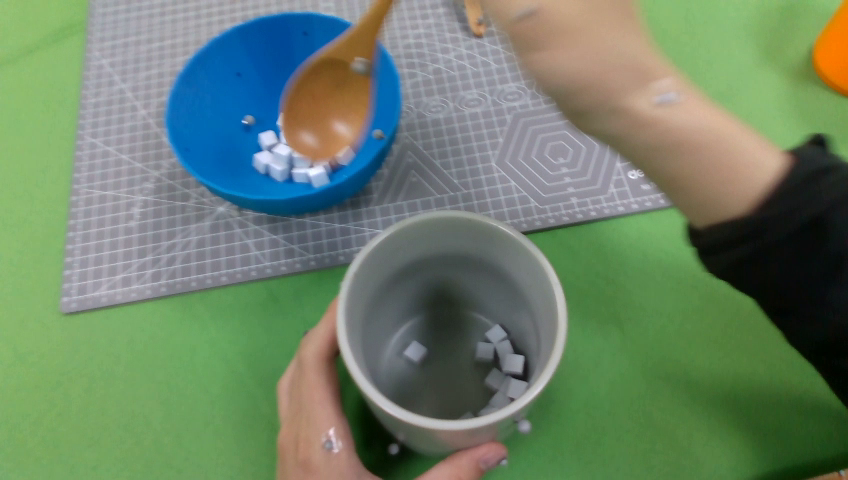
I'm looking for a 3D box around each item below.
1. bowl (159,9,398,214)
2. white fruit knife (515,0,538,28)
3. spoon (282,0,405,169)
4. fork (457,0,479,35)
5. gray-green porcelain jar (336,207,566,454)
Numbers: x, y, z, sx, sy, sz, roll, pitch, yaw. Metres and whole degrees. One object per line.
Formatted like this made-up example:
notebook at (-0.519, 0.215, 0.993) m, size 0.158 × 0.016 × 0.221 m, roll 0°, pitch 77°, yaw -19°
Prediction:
bowl at (-0.090, -0.074, 0.416) m, size 0.151 × 0.077 × 0.150 m, roll 0°, pitch 65°, yaw 1°
white fruit knife at (0.065, -0.277, 0.509) m, size 0.016 × 0.027 × 0.206 m, roll -11°, pitch 79°, yaw -5°
spoon at (-0.008, -0.108, 0.251) m, size 0.042 × 0.194 × 0.021 m, roll 27°, pitch 33°, yaw -17°
fork at (0.017, -0.270, 0.505) m, size 0.028 × 0.018 × 0.206 m, roll -13°, pitch 84°, yaw -10°
gray-green porcelain jar at (0.014, 0.058, 0.329) m, size 0.106 × 0.127 × 0.105 m, roll -1°, pitch 64°, yaw 2°
